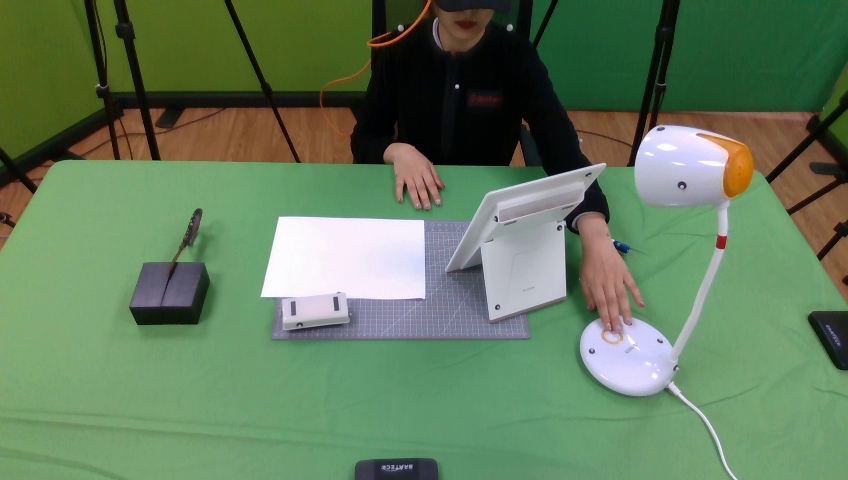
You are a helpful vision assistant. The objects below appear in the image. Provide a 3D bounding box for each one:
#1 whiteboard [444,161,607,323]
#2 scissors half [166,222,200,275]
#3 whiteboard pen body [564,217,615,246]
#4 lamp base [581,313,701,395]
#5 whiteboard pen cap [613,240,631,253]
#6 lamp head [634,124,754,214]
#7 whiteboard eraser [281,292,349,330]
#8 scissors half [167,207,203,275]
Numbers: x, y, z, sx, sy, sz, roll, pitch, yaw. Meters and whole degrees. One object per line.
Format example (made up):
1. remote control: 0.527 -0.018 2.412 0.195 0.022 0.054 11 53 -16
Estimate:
1. whiteboard: 0.186 0.025 1.029 0.217 0.306 0.143 -14 68 -18
2. scissors half: -0.444 0.015 1.116 0.013 0.040 0.174 16 27 -10
3. whiteboard pen body: 0.346 -0.013 1.234 0.140 0.017 0.017 29 51 26
4. lamp base: 0.361 0.144 0.973 0.178 0.181 0.160 34 53 23
5. whiteboard pen cap: 0.393 0.012 1.207 0.033 0.018 0.018 26 50 28
6. lamp head: 0.351 -0.089 0.775 0.112 0.113 0.122 -30 30 -28
7. whiteboard eraser: -0.189 0.124 1.045 0.113 0.042 0.055 -6 46 -10
8. scissors half: -0.436 0.000 1.104 0.013 0.040 0.174 21 45 -14
